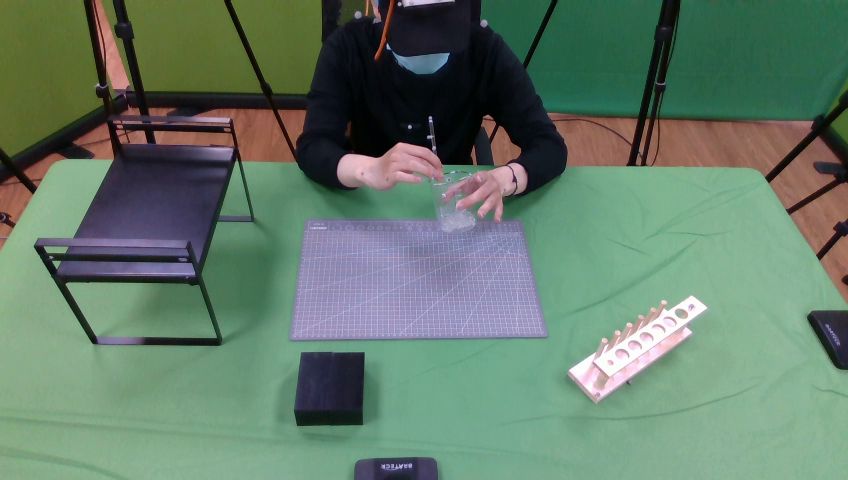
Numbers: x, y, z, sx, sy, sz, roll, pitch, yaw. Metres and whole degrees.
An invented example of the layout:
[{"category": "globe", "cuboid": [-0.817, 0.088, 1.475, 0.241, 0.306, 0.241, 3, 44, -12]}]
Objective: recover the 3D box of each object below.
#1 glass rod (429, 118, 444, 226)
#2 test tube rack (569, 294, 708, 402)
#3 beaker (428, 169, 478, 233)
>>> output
[{"category": "glass rod", "cuboid": [0.022, -0.118, 1.082, 0.008, 0.200, 0.008, -6, 22, 2]}, {"category": "test tube rack", "cuboid": [0.360, 0.167, 1.015, 0.242, 0.085, 0.066, -25, 52, -25]}, {"category": "beaker", "cuboid": [0.057, -0.070, 1.091, 0.084, 0.100, 0.073, -9, 22, 10]}]
